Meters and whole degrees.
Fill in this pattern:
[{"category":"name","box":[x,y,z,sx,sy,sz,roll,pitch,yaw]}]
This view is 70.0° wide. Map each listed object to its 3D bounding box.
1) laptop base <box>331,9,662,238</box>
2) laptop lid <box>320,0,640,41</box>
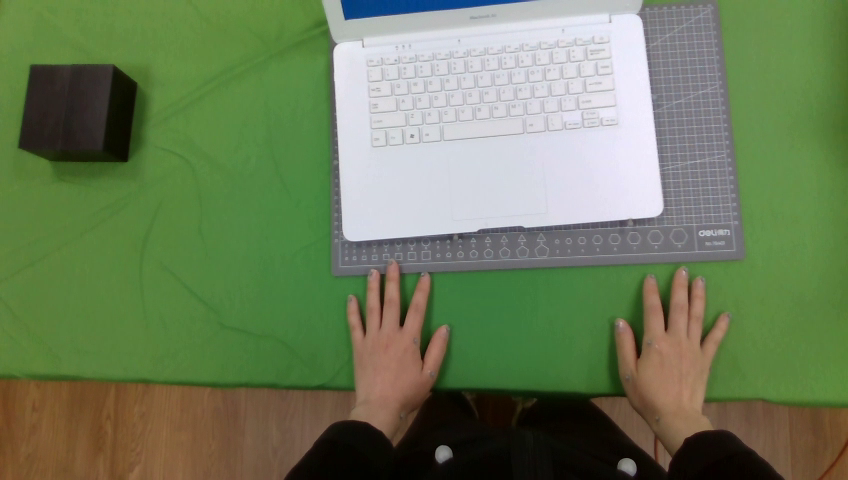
[{"category":"laptop base","box":[0.075,-0.131,0.683,0.354,0.023,0.235,-5,85,3]},{"category":"laptop lid","box":[0.055,-0.310,0.601,0.356,0.244,0.013,-6,57,5]}]
